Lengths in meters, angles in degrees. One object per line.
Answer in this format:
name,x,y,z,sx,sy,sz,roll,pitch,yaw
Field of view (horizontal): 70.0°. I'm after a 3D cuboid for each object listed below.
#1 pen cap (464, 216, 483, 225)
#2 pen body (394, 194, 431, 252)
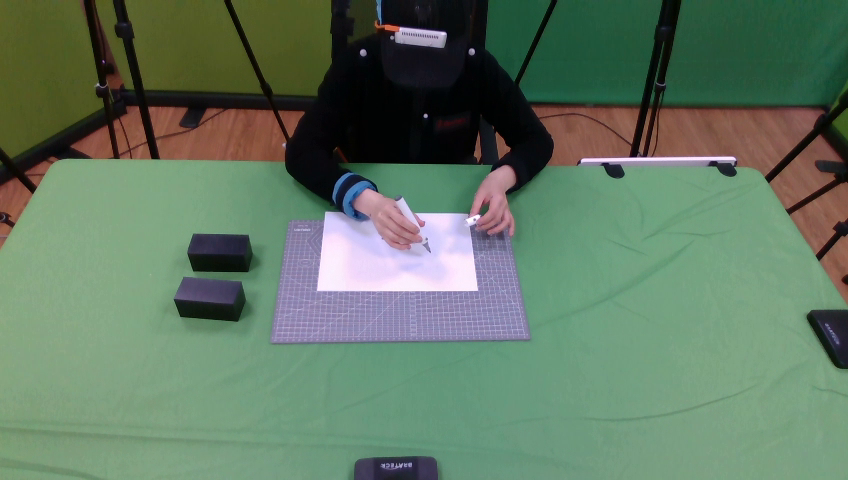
pen cap,0.096,-0.038,1.179,0.038,0.017,0.017,-5,45,-30
pen body,-0.018,-0.028,1.117,0.017,0.145,0.017,-20,37,15
